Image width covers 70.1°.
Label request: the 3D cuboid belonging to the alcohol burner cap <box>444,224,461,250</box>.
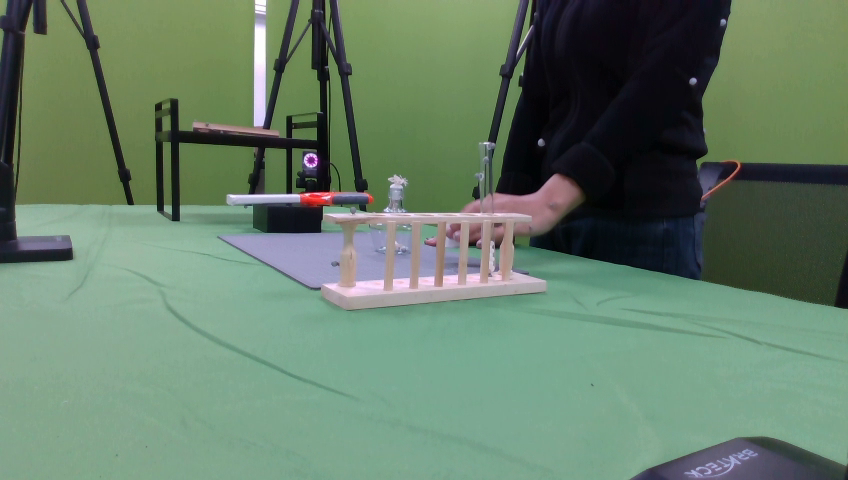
[{"bbox_3d":[0.039,-0.010,0.838,0.034,0.048,0.034,-6,7,1],"label":"alcohol burner cap"}]

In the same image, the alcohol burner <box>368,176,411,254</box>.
[{"bbox_3d":[-0.045,-0.038,0.913,0.078,0.119,0.078,5,7,0],"label":"alcohol burner"}]

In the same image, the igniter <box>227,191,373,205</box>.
[{"bbox_3d":[-0.232,-0.079,1.162,0.278,0.025,0.057,-3,12,-28],"label":"igniter"}]

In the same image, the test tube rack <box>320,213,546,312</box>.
[{"bbox_3d":[0.018,0.017,0.638,0.244,0.085,0.066,-2,9,-31],"label":"test tube rack"}]

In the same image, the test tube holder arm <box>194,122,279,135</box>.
[{"bbox_3d":[-0.401,-0.238,1.301,0.179,0.015,0.013,-2,-21,-29],"label":"test tube holder arm"}]

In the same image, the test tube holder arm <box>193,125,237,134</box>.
[{"bbox_3d":[-0.443,-0.235,1.284,0.088,0.015,0.010,-2,-21,-28],"label":"test tube holder arm"}]

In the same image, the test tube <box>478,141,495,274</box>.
[{"bbox_3d":[0.071,-0.035,0.683,0.017,0.150,0.017,-2,8,1],"label":"test tube"}]
